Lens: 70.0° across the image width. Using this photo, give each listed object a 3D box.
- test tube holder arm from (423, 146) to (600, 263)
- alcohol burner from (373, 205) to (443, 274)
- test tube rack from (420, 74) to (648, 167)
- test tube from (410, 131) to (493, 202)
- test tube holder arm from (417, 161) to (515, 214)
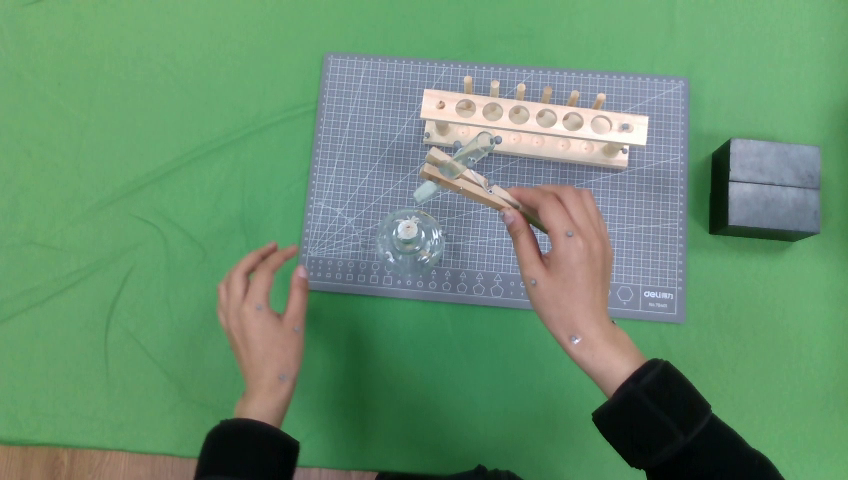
[{"bbox_3d":[0.077,-0.028,0.513,0.179,0.015,0.013,29,72,-14],"label":"test tube holder arm"},{"bbox_3d":[-0.018,-0.004,0.658,0.078,0.119,0.077,0,79,0],"label":"alcohol burner"},{"bbox_3d":[0.121,-0.142,0.693,0.242,0.085,0.066,8,81,3],"label":"test tube rack"},{"bbox_3d":[0.018,-0.056,0.496,0.017,0.150,0.017,4,77,-20],"label":"test tube"},{"bbox_3d":[0.036,-0.042,0.500,0.088,0.015,0.010,22,73,-16],"label":"test tube holder arm"}]
